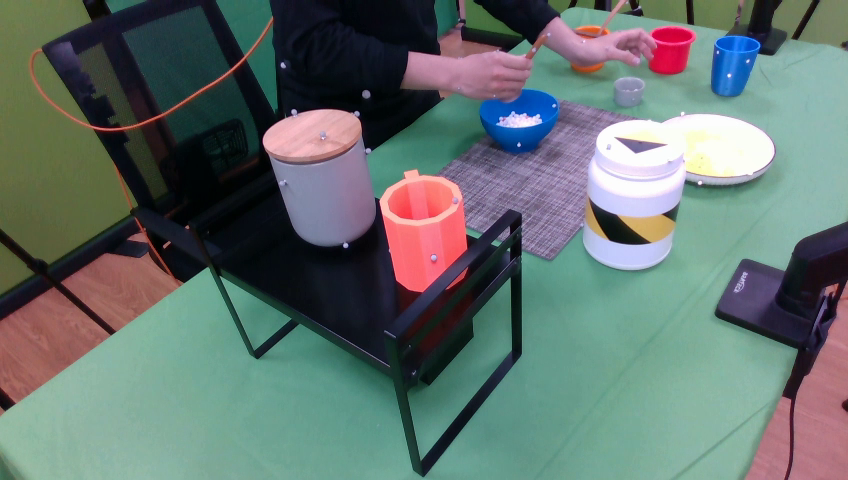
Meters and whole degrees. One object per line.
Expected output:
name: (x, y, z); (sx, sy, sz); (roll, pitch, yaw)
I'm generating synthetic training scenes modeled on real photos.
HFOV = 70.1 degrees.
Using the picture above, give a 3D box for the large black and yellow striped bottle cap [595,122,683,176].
large black and yellow striped bottle cap: (0.293, -0.126, 0.826); (0.115, 0.019, 0.114); (-3, 40, 3)

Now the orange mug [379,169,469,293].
orange mug: (-0.002, -0.019, 0.665); (0.083, 0.101, 0.125); (-12, 45, -4)

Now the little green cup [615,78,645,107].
little green cup: (0.426, -0.306, 1.257); (0.061, 0.039, 0.061); (-5, 40, 4)

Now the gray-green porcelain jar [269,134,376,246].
gray-green porcelain jar: (-0.115, -0.064, 0.715); (0.106, 0.127, 0.105); (-4, 40, 4)

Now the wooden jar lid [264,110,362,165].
wooden jar lid: (-0.122, -0.112, 0.673); (0.108, 0.021, 0.108); (-4, 37, 4)

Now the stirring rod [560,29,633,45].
stirring rod: (0.381, -0.452, 1.345); (0.174, 0.006, 0.014); (25, 49, 33)

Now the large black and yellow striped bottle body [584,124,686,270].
large black and yellow striped bottle body: (0.304, -0.063, 0.880); (0.131, 0.185, 0.130); (-5, 41, 5)

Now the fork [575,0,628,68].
fork: (0.413, -0.481, 1.377); (0.207, 0.019, 0.028); (-57, 43, 12)

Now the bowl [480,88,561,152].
bowl: (0.185, -0.222, 1.160); (0.151, 0.077, 0.150); (-4, 40, 4)

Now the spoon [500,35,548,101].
spoon: (0.171, -0.292, 1.040); (0.042, 0.194, 0.021); (-12, 71, -14)

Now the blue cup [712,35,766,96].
blue cup: (0.627, -0.350, 1.227); (0.092, 0.100, 0.092); (-4, 39, 4)

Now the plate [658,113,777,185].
plate: (0.506, -0.158, 1.073); (0.209, 0.038, 0.208); (-5, 40, 4)
